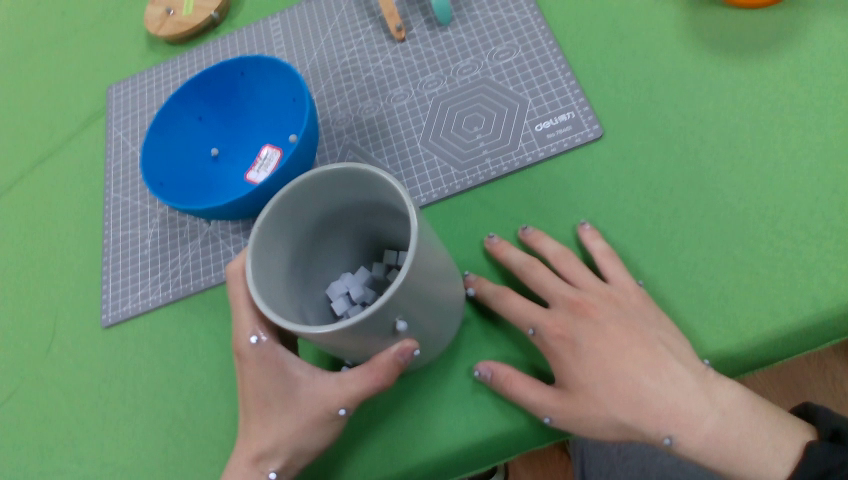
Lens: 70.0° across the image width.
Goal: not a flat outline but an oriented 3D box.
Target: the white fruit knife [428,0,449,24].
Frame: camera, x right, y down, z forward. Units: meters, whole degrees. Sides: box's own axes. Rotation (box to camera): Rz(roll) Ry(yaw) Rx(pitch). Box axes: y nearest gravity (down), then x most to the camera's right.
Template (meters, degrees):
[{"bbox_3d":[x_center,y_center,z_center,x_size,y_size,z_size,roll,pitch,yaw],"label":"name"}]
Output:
[{"bbox_3d":[-0.015,-0.298,0.581,0.016,0.027,0.206,-21,73,6],"label":"white fruit knife"}]

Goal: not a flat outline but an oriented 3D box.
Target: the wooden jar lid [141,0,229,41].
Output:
[{"bbox_3d":[-0.266,-0.266,0.682,0.108,0.021,0.107,-6,62,13],"label":"wooden jar lid"}]

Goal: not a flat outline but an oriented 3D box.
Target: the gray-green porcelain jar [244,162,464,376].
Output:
[{"bbox_3d":[-0.035,0.027,0.389,0.105,0.128,0.105,-7,64,16],"label":"gray-green porcelain jar"}]

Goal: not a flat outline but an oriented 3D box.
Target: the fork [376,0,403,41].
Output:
[{"bbox_3d":[-0.061,-0.283,0.587,0.028,0.019,0.206,-22,78,0],"label":"fork"}]

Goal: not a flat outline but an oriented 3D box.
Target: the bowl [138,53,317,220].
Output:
[{"bbox_3d":[-0.149,-0.073,0.509,0.151,0.077,0.150,-7,62,14],"label":"bowl"}]
